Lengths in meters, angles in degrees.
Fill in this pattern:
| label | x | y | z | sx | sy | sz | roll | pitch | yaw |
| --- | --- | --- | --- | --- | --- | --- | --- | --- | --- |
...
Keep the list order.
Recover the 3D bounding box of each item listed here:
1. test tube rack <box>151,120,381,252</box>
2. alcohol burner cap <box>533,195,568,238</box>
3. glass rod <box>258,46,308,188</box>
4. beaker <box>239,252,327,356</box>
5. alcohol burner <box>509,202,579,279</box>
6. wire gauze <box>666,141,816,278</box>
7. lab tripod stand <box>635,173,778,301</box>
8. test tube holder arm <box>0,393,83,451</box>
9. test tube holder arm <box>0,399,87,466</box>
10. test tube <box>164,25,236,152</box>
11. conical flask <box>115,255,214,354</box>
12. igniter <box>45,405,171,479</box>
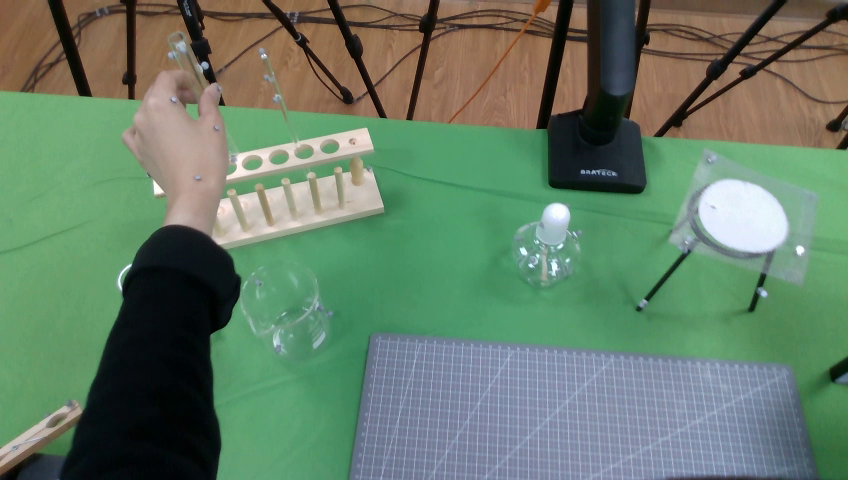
| label | x | y | z | sx | sy | sz | roll | pitch | yaw |
| --- | --- | --- | --- | --- | --- | --- | --- | --- | --- |
| test tube rack | -0.177 | -0.063 | 0.708 | 0.243 | 0.086 | 0.066 | -14 | 60 | -9 |
| alcohol burner cap | 0.133 | -0.027 | 0.630 | 0.034 | 0.048 | 0.033 | 1 | 58 | -1 |
| glass rod | -0.151 | -0.126 | 0.668 | 0.008 | 0.201 | 0.008 | -3 | 52 | 4 |
| beaker | -0.141 | 0.072 | 0.619 | 0.074 | 0.101 | 0.083 | 18 | 61 | 11 |
| alcohol burner | 0.134 | -0.007 | 0.661 | 0.078 | 0.120 | 0.077 | 1 | 57 | -1 |
| wire gauze | 0.310 | -0.032 | 0.586 | 0.121 | 0.011 | 0.124 | 24 | 62 | 11 |
| lab tripod stand | 0.303 | 0.004 | 0.643 | 0.148 | 0.132 | 0.147 | 1 | 58 | -1 |
| test tube holder arm | -0.388 | 0.196 | 0.531 | 0.178 | 0.015 | 0.013 | -35 | 63 | -20 |
| test tube holder arm | -0.349 | 0.175 | 0.544 | 0.088 | 0.015 | 0.010 | -34 | 63 | -20 |
| test tube | -0.202 | -0.132 | 0.557 | 0.017 | 0.151 | 0.017 | -1 | 59 | 2 |
| conical flask | -0.266 | 0.060 | 0.610 | 0.075 | 0.123 | 0.074 | 0 | 58 | 0 |
| igniter | -0.346 | 0.236 | 0.503 | 0.276 | 0.025 | 0.057 | -35 | 67 | -23 |
